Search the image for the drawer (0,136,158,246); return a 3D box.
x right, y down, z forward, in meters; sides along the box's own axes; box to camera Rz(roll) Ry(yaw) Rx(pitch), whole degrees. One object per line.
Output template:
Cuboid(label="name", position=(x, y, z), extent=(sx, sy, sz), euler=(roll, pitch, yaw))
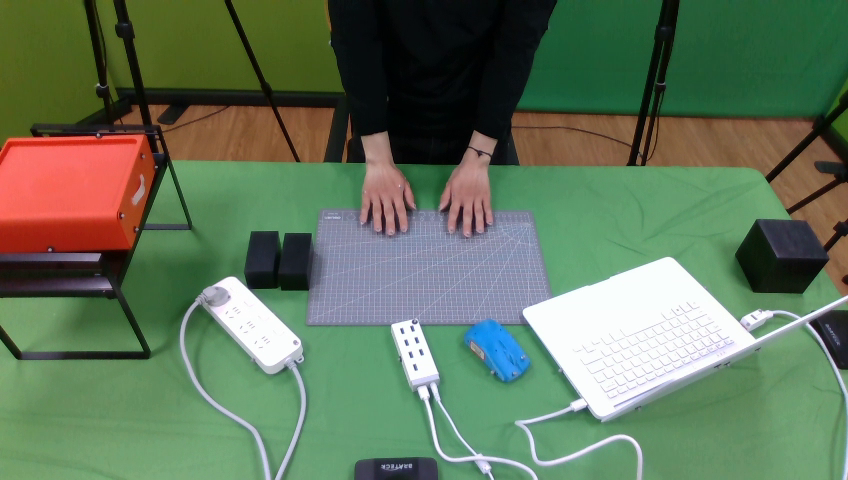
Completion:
Cuboid(label="drawer", position=(-0.545, -0.076, 0.941), extent=(0.212, 0.073, 0.193), euler=(-2, 47, -6))

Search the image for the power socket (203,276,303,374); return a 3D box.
Cuboid(label="power socket", position=(-0.296, 0.141, 1.034), extent=(0.072, 0.033, 0.225), euler=(-35, 58, -31))

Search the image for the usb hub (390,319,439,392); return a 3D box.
Cuboid(label="usb hub", position=(-0.016, 0.190, 1.013), extent=(0.049, 0.025, 0.124), euler=(-11, 48, -15))

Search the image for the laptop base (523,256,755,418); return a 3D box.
Cuboid(label="laptop base", position=(0.381, 0.159, 1.077), extent=(0.355, 0.023, 0.234), euler=(-17, 47, -19))

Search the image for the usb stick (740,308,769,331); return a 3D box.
Cuboid(label="usb stick", position=(0.587, 0.145, 1.088), extent=(0.059, 0.027, 0.021), euler=(-21, 48, -17))

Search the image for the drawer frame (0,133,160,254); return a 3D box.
Cuboid(label="drawer frame", position=(-0.547, -0.075, 0.939), extent=(0.214, 0.083, 0.200), euler=(-3, 47, -6))

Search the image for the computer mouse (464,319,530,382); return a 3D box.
Cuboid(label="computer mouse", position=(0.124, 0.182, 1.023), extent=(0.063, 0.041, 0.116), euler=(-28, 58, -29))

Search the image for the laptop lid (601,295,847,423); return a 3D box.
Cuboid(label="laptop lid", position=(0.449, 0.180, 0.905), extent=(0.357, 0.242, 0.013), euler=(-17, 64, -20))

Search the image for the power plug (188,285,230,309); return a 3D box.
Cuboid(label="power plug", position=(-0.370, 0.103, 1.039), extent=(0.072, 0.053, 0.035), euler=(-26, 54, -23))
